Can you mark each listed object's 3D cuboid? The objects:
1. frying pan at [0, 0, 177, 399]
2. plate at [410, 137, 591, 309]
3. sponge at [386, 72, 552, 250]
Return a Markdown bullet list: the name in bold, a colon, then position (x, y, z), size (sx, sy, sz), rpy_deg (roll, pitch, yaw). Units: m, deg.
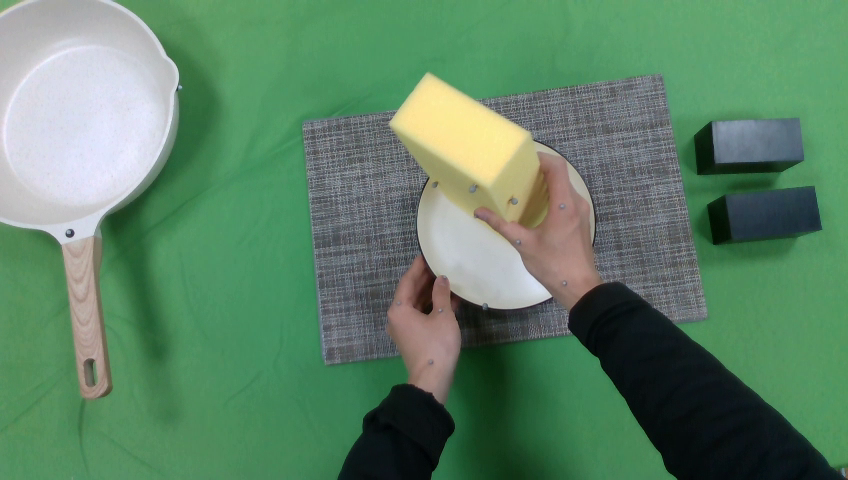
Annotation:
- **frying pan**: position (-0.412, -0.056, 0.709), size (0.307, 0.103, 0.484), rpy_deg (-15, 73, 2)
- **plate**: position (0.088, -0.022, 0.711), size (0.207, 0.039, 0.207), rpy_deg (0, 82, 2)
- **sponge**: position (0.056, -0.070, 0.618), size (0.117, 0.208, 0.061), rpy_deg (34, 86, 24)
